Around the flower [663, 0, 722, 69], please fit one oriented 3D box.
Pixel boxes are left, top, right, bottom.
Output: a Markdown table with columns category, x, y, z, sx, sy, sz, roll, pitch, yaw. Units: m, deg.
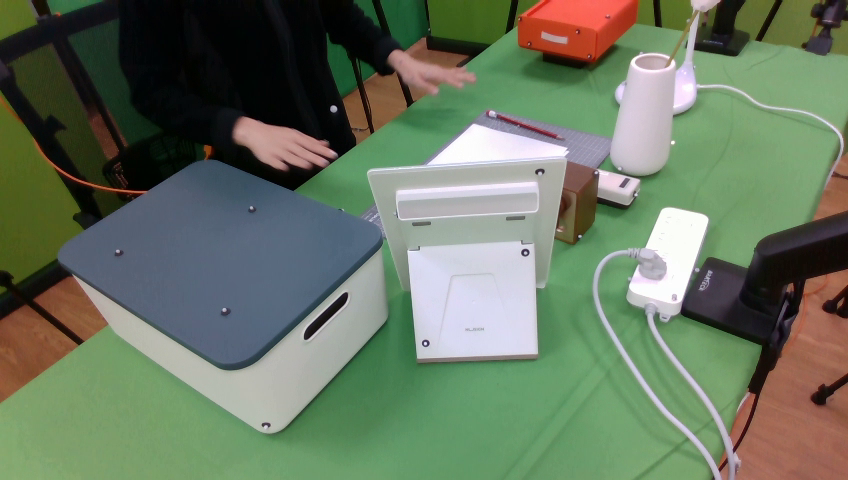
| category | x | y | z | sx | sy | sz | roll | pitch | yaw |
| --- | --- | --- | --- | --- | --- | --- | --- | --- | --- |
| flower | 0.379 | -0.261 | 0.965 | 0.044 | 0.362 | 0.038 | 21 | 53 | 5 |

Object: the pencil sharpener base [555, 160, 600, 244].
| category | x | y | z | sx | sy | sz | roll | pitch | yaw |
| --- | --- | --- | --- | --- | --- | --- | --- | --- | --- |
| pencil sharpener base | 0.228 | -0.057 | 0.945 | 0.061 | 0.107 | 0.077 | 24 | 50 | 31 |

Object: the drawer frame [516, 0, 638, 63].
| category | x | y | z | sx | sy | sz | roll | pitch | yaw |
| --- | --- | --- | --- | --- | --- | --- | --- | --- | --- |
| drawer frame | 0.355 | -0.508 | 1.411 | 0.200 | 0.083 | 0.214 | 23 | 51 | 32 |

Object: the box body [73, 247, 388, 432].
| category | x | y | z | sx | sy | sz | roll | pitch | yaw |
| --- | --- | --- | --- | --- | --- | --- | --- | --- | --- |
| box body | -0.255 | 0.065 | 0.827 | 0.361 | 0.161 | 0.255 | 21 | 48 | 29 |

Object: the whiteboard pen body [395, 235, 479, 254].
| category | x | y | z | sx | sy | sz | roll | pitch | yaw |
| --- | --- | --- | --- | --- | --- | --- | --- | --- | --- |
| whiteboard pen body | 0.019 | 0.005 | 0.963 | 0.140 | 0.017 | 0.017 | 9 | 43 | 17 |

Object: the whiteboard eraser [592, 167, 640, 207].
| category | x | y | z | sx | sy | sz | roll | pitch | yaw |
| --- | --- | --- | --- | --- | --- | --- | --- | --- | --- |
| whiteboard eraser | 0.303 | -0.091 | 1.024 | 0.112 | 0.042 | 0.056 | 21 | 49 | 28 |

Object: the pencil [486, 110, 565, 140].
| category | x | y | z | sx | sy | sz | roll | pitch | yaw |
| --- | --- | --- | --- | --- | --- | --- | --- | --- | --- |
| pencil | 0.204 | -0.233 | 1.226 | 0.192 | 0.012 | 0.012 | 29 | 52 | 33 |

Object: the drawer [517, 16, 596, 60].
| category | x | y | z | sx | sy | sz | roll | pitch | yaw |
| --- | --- | --- | --- | --- | --- | --- | --- | --- | --- |
| drawer | 0.353 | -0.506 | 1.405 | 0.193 | 0.073 | 0.212 | 23 | 49 | 32 |

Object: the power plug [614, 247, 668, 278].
| category | x | y | z | sx | sy | sz | roll | pitch | yaw |
| --- | --- | --- | --- | --- | --- | --- | --- | --- | --- |
| power plug | 0.306 | 0.031 | 0.851 | 0.072 | 0.053 | 0.035 | 24 | 49 | 33 |

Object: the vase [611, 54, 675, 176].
| category | x | y | z | sx | sy | sz | roll | pitch | yaw |
| --- | --- | --- | --- | --- | --- | --- | --- | --- | --- |
| vase | 0.377 | -0.209 | 1.031 | 0.098 | 0.201 | 0.097 | -3 | 40 | 3 |

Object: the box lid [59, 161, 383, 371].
| category | x | y | z | sx | sy | sz | roll | pitch | yaw |
| --- | --- | --- | --- | --- | --- | --- | --- | --- | --- |
| box lid | -0.262 | 0.010 | 0.777 | 0.369 | 0.015 | 0.264 | 21 | 48 | 29 |

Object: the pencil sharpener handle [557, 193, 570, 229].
| category | x | y | z | sx | sy | sz | roll | pitch | yaw |
| --- | --- | --- | --- | --- | --- | --- | --- | --- | --- |
| pencil sharpener handle | 0.195 | -0.038 | 0.908 | 0.035 | 0.068 | 0.031 | 24 | 50 | 30 |

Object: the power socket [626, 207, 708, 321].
| category | x | y | z | sx | sy | sz | roll | pitch | yaw |
| --- | --- | --- | --- | --- | --- | --- | --- | --- | --- |
| power socket | 0.359 | 0.025 | 0.886 | 0.072 | 0.033 | 0.227 | 16 | 46 | 26 |

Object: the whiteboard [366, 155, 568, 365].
| category | x | y | z | sx | sy | sz | roll | pitch | yaw |
| --- | --- | --- | --- | --- | --- | --- | --- | --- | --- |
| whiteboard | 0.059 | 0.050 | 0.738 | 0.217 | 0.307 | 0.143 | -3 | 60 | 5 |

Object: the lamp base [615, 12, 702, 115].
| category | x | y | z | sx | sy | sz | roll | pitch | yaw |
| --- | --- | --- | --- | --- | --- | --- | --- | --- | --- |
| lamp base | 0.484 | -0.363 | 1.211 | 0.180 | 0.181 | 0.159 | -15 | 41 | -14 |

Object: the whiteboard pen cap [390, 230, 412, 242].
| category | x | y | z | sx | sy | sz | roll | pitch | yaw |
| --- | --- | --- | --- | --- | --- | --- | --- | --- | --- |
| whiteboard pen cap | -0.036 | -0.006 | 0.980 | 0.033 | 0.018 | 0.018 | 9 | 43 | 17 |
